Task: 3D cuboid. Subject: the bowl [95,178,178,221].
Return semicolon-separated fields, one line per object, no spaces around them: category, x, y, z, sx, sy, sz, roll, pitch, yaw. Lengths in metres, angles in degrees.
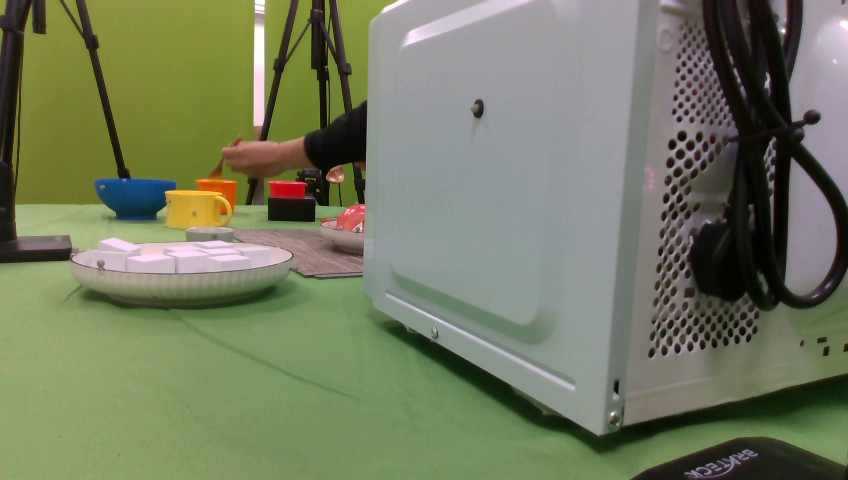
bowl;-0.576;-0.081;1.217;0.151;0.077;0.151;4;8;0

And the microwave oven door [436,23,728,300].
microwave oven door;0.180;-0.073;0.621;0.358;0.243;0.039;-2;9;-29

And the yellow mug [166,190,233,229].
yellow mug;-0.415;-0.057;1.132;0.130;0.064;0.100;6;8;16

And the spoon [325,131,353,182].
spoon;-0.199;-0.205;1.470;0.041;0.021;0.193;10;52;3

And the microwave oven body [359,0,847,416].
microwave oven body;0.211;-0.047;0.474;0.444;0.260;0.324;-1;7;-28

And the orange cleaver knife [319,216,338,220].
orange cleaver knife;-0.142;-0.057;1.394;0.077;0.012;0.212;0;5;44

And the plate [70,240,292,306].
plate;-0.242;0.032;0.618;0.208;0.039;0.207;3;8;0

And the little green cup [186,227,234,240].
little green cup;-0.284;0.005;0.805;0.061;0.038;0.061;2;8;0

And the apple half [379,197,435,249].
apple half;-0.020;-0.030;0.891;0.081;0.053;0.074;-3;49;-26

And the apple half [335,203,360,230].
apple half;-0.116;-0.038;0.960;0.081;0.033;0.081;-38;8;7

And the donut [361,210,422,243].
donut;-0.051;-0.020;0.959;0.099;0.048;0.099;7;7;-1

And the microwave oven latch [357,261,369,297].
microwave oven latch;-0.019;0.033;0.531;0.079;0.029;0.030;-1;7;-28

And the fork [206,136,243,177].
fork;-0.430;-0.178;1.308;0.028;0.018;0.206;-1;-21;-38

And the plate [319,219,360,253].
plate;-0.059;-0.007;0.939;0.209;0.038;0.209;3;8;0
